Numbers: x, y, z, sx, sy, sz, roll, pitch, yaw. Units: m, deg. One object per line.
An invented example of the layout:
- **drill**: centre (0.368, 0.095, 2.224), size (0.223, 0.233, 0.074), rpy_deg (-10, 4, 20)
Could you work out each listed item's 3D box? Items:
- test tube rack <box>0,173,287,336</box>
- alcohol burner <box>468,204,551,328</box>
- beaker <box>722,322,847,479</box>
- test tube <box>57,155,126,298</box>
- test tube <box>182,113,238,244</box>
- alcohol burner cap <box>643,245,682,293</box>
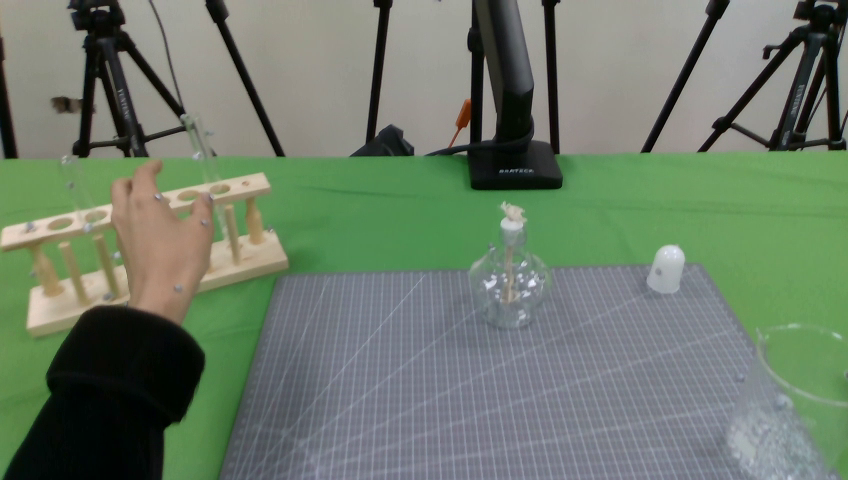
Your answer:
- **test tube rack**: centre (-0.270, 0.009, 0.606), size (0.243, 0.086, 0.066), rpy_deg (-15, 38, -21)
- **alcohol burner**: centre (0.079, 0.021, 0.557), size (0.078, 0.120, 0.077), rpy_deg (-1, 34, 1)
- **beaker**: centre (0.257, 0.118, 0.428), size (0.074, 0.101, 0.083), rpy_deg (-19, 38, -24)
- **test tube**: centre (-0.302, -0.009, 0.553), size (0.017, 0.152, 0.017), rpy_deg (-1, 34, 1)
- **test tube**: centre (-0.214, -0.057, 0.613), size (0.017, 0.151, 0.017), rpy_deg (-3, 37, 3)
- **alcohol burner cap**: centre (0.242, 0.027, 0.610), size (0.034, 0.048, 0.033), rpy_deg (0, 35, 0)
